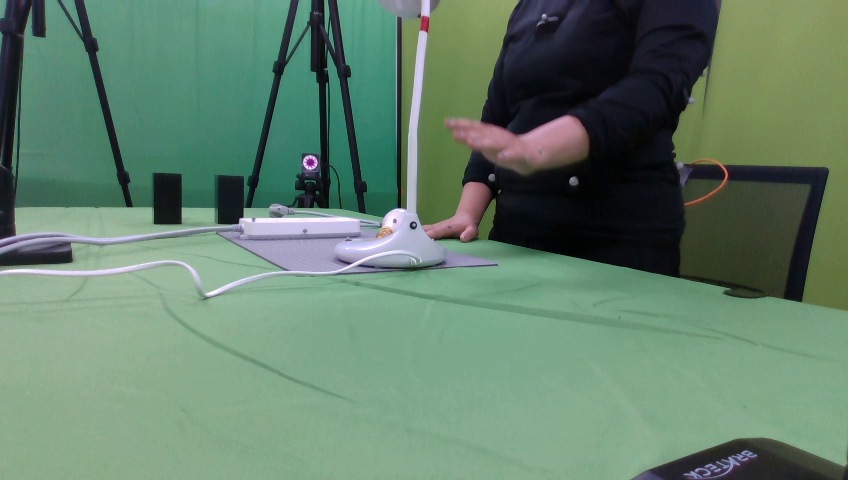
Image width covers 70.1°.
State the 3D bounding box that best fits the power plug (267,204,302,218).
[{"bbox_3d":[-0.327,-0.060,1.404,0.073,0.035,0.052,23,-15,-25],"label":"power plug"}]

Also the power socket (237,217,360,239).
[{"bbox_3d":[-0.220,-0.023,1.080,0.228,0.032,0.072,-2,8,-32],"label":"power socket"}]

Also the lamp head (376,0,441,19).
[{"bbox_3d":[-0.012,-0.373,0.822,0.113,0.112,0.122,1,0,-14],"label":"lamp head"}]

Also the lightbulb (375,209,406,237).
[{"bbox_3d":[-0.052,-0.016,1.022,0.059,0.059,0.108,6,22,22],"label":"lightbulb"}]

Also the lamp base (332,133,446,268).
[{"bbox_3d":[-0.038,-0.058,0.833,0.161,0.180,0.178,-2,11,-32],"label":"lamp base"}]
